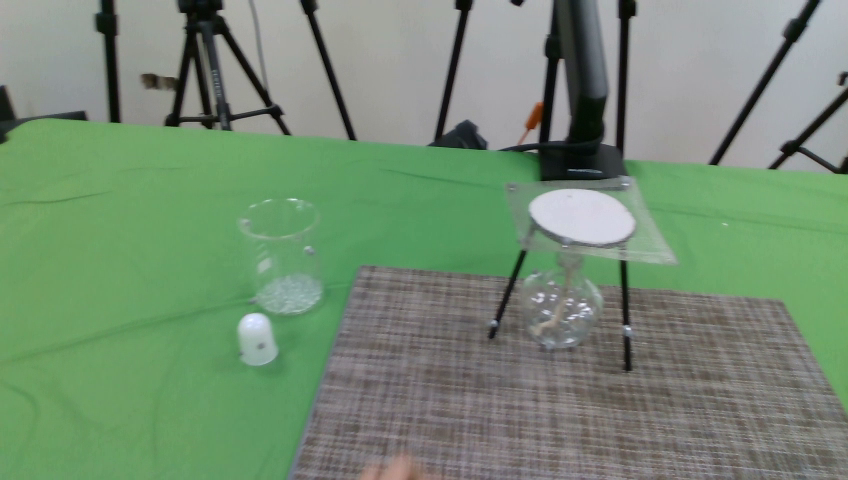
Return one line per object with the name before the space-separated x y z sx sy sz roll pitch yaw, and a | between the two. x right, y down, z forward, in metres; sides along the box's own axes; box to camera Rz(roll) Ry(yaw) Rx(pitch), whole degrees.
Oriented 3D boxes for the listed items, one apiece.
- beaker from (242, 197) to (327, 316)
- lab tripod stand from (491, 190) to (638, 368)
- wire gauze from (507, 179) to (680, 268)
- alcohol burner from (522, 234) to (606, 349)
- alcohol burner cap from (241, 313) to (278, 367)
beaker | -0.134 0.017 0.602 0.073 0.101 0.083 14 36 16
lab tripod stand | 0.140 0.033 0.555 0.148 0.132 0.147 3 34 -2
wire gauze | 0.138 -0.020 0.512 0.125 0.011 0.120 3 35 -1
alcohol burner | 0.132 0.042 0.558 0.078 0.120 0.077 2 37 -1
alcohol burner cap | -0.151 0.088 0.549 0.034 0.048 0.033 2 35 -1
